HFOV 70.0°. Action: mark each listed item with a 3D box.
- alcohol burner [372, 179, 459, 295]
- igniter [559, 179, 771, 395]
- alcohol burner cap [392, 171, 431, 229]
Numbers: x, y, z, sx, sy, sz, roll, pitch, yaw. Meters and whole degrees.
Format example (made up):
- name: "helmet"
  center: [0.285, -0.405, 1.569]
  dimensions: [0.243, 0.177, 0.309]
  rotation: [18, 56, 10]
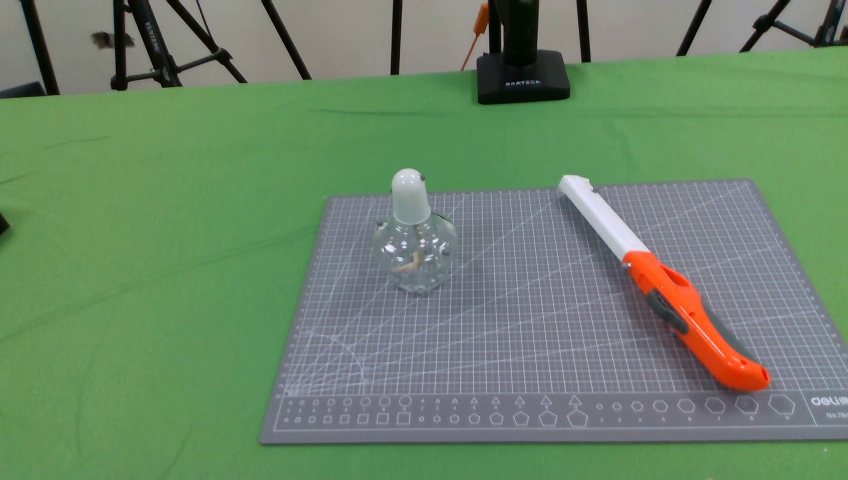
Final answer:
- name: "alcohol burner"
  center: [-0.009, -0.009, 0.532]
  dimensions: [0.078, 0.120, 0.077]
  rotation: [-2, 43, 3]
- name: "igniter"
  center: [0.193, 0.026, 0.528]
  dimensions: [0.057, 0.025, 0.273]
  rotation: [3, 35, -23]
- name: "alcohol burner cap"
  center: [-0.012, -0.036, 0.508]
  dimensions: [0.034, 0.048, 0.033]
  rotation: [-2, 45, 3]
